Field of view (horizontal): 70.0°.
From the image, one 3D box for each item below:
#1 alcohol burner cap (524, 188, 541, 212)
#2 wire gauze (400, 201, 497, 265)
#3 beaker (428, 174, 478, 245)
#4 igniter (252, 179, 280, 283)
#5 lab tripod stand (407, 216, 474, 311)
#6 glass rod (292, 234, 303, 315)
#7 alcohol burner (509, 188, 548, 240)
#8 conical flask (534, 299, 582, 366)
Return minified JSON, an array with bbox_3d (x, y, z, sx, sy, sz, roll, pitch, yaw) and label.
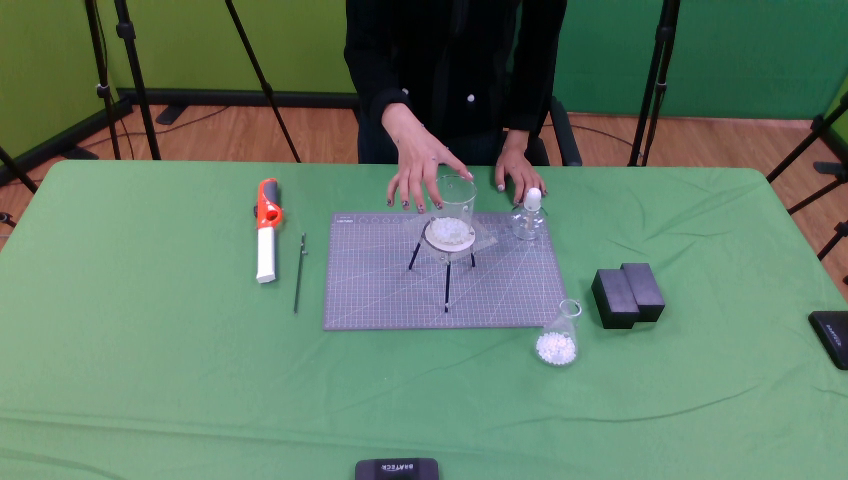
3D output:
[{"bbox_3d":[0.212,-0.081,1.177,0.034,0.048,0.033,-2,54,2],"label":"alcohol burner cap"},{"bbox_3d":[0.042,-0.012,1.043,0.125,0.011,0.120,-24,49,-23],"label":"wire gauze"},{"bbox_3d":[0.043,-0.047,1.009,0.084,0.101,0.073,-16,47,-18],"label":"beaker"},{"bbox_3d":[-0.312,-0.027,1.197,0.057,0.025,0.274,-12,47,-1],"label":"igniter"},{"bbox_3d":[0.039,0.030,1.093,0.148,0.132,0.147,3,44,-2],"label":"lab tripod stand"},{"bbox_3d":[-0.236,0.059,1.133,0.008,0.008,0.198,-1,46,-4],"label":"glass rod"},{"bbox_3d":[0.211,-0.057,1.204,0.078,0.120,0.077,1,47,-1],"label":"alcohol burner"},{"bbox_3d":[0.229,0.149,1.005,0.075,0.122,0.075,2,46,-2],"label":"conical flask"}]
